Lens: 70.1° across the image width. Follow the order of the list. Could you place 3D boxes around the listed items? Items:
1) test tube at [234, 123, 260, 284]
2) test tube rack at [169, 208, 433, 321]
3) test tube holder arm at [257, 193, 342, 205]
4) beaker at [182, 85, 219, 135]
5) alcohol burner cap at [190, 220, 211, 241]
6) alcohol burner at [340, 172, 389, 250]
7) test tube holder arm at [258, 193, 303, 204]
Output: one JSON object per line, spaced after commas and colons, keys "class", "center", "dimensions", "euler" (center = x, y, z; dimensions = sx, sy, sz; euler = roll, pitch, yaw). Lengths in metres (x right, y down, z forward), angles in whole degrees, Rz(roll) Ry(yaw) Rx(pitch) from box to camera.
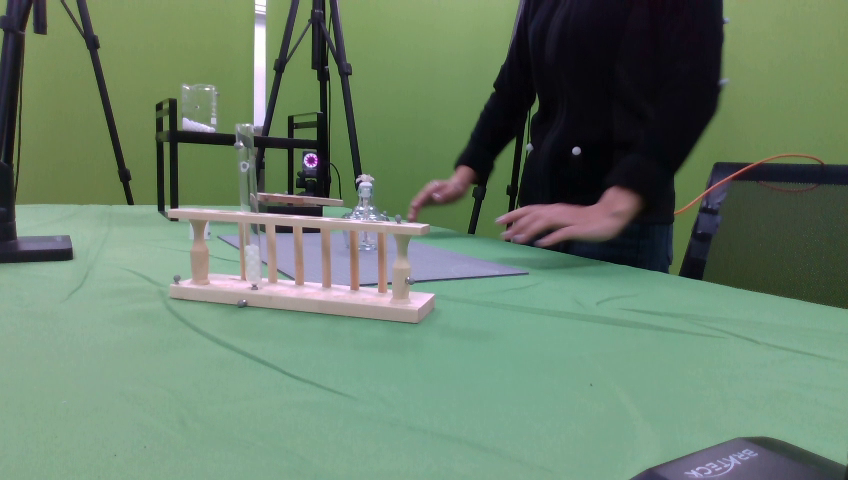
{"class": "test tube", "center": [-0.164, -0.033, 0.562], "dimensions": [0.017, 0.150, 0.017], "euler": [-1, 8, 0]}
{"class": "test tube rack", "center": [-0.115, 0.018, 0.574], "dimensions": [0.242, 0.085, 0.067], "euler": [4, 8, 13]}
{"class": "test tube holder arm", "center": [-0.238, -0.079, 1.175], "dimensions": [0.179, 0.015, 0.013], "euler": [1, 22, -41]}
{"class": "beaker", "center": [-0.479, -0.276, 1.291], "dimensions": [0.074, 0.100, 0.084], "euler": [2, 8, -1]}
{"class": "alcohol burner cap", "center": [-0.365, -0.023, 0.988], "dimensions": [0.034, 0.048, 0.034], "euler": [2, 7, 0]}
{"class": "alcohol burner", "center": [-0.093, -0.045, 0.939], "dimensions": [0.078, 0.119, 0.078], "euler": [0, 7, 0]}
{"class": "test tube holder arm", "center": [-0.270, -0.078, 1.141], "dimensions": [0.088, 0.015, 0.010], "euler": [2, 22, -39]}
